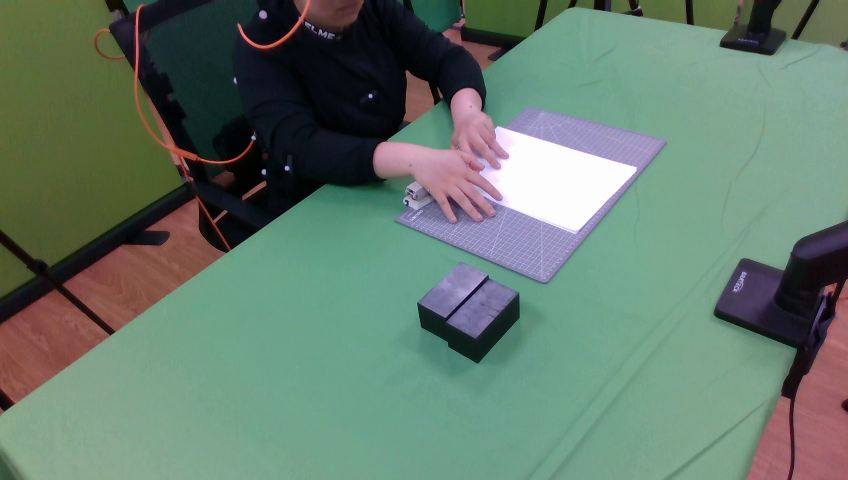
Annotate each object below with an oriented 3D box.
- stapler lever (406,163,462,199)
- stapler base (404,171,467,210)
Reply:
[{"bbox_3d":[0.021,-0.107,1.079,0.119,0.040,0.026,-23,39,-36],"label":"stapler lever"},{"bbox_3d":[0.022,-0.099,1.087,0.131,0.024,0.041,-35,46,-26],"label":"stapler base"}]
